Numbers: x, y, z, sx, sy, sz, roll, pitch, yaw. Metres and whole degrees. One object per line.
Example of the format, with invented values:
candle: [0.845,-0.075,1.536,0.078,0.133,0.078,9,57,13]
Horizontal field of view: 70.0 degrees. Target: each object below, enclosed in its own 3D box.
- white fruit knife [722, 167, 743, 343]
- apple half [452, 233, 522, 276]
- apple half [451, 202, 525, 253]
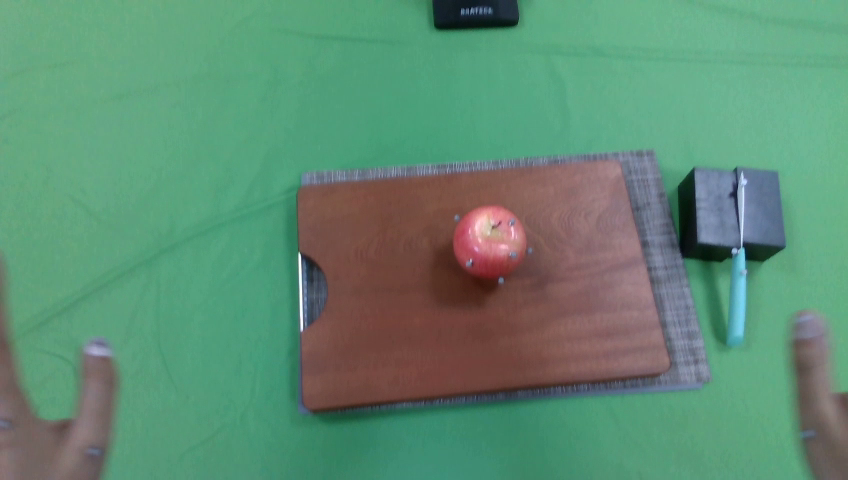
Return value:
white fruit knife: [0.358,0.016,0.700,0.016,0.027,0.207,5,83,0]
apple half: [0.066,0.024,0.661,0.081,0.082,0.032,8,65,2]
apple half: [0.072,-0.012,0.676,0.081,0.075,0.053,6,65,5]
